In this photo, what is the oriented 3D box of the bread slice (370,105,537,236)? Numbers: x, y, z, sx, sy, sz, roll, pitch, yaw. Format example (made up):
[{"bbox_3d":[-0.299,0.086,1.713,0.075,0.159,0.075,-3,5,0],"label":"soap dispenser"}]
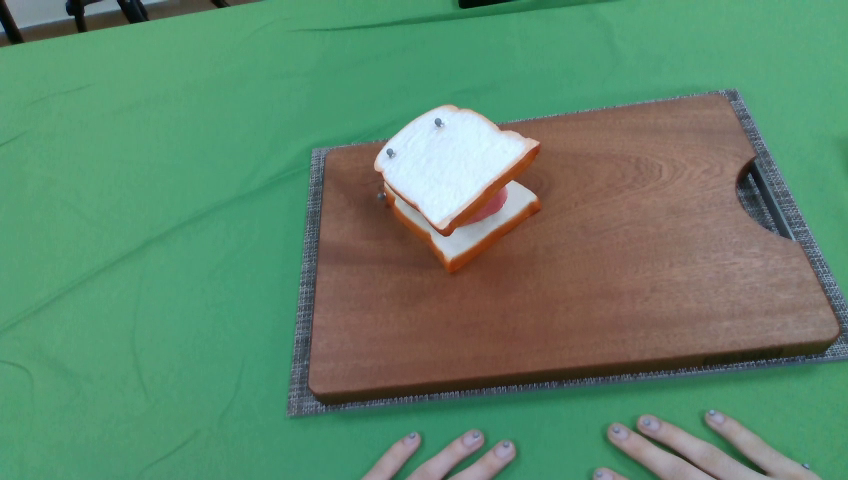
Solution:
[{"bbox_3d":[0.014,-0.066,0.518,0.107,0.018,0.133,-43,46,-11],"label":"bread slice"}]

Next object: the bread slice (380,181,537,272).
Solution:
[{"bbox_3d":[0.021,-0.041,0.553,0.105,0.019,0.130,-35,56,-17],"label":"bread slice"}]
